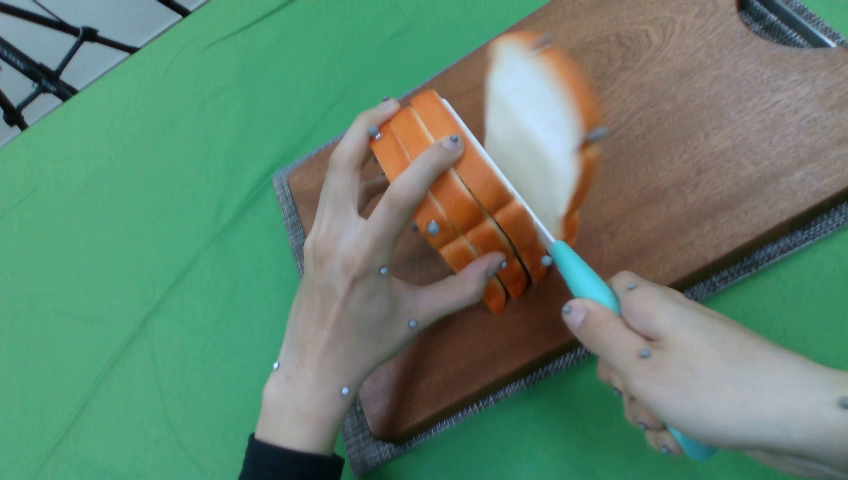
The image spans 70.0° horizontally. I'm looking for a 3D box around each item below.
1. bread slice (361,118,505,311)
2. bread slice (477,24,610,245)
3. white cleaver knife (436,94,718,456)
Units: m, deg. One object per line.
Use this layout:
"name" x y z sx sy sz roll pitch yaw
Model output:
"bread slice" 0.006 -0.021 0.389 0.018 0.136 0.106 -35 54 6
"bread slice" 0.074 -0.066 0.385 0.019 0.132 0.104 -20 55 -21
"white cleaver knife" 0.081 0.003 0.379 0.021 0.066 0.283 -35 58 6
